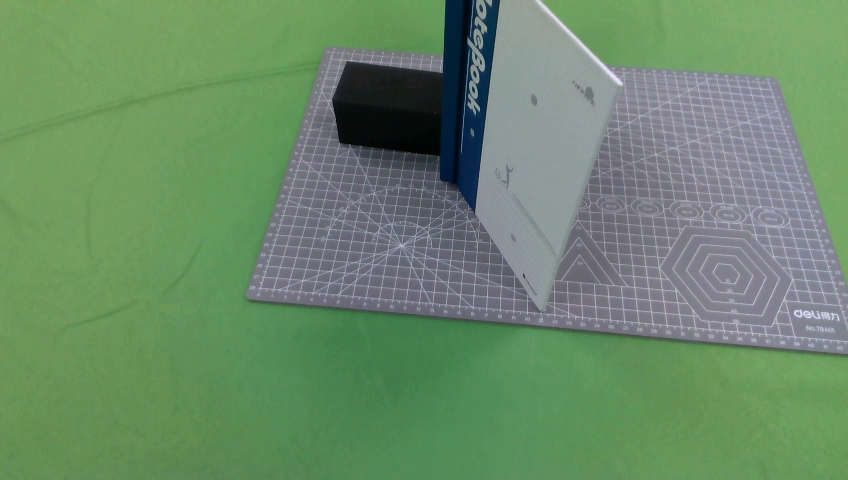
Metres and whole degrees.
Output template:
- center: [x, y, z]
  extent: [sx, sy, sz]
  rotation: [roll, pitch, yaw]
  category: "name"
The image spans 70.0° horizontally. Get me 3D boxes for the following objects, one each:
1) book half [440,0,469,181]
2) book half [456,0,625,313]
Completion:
- center: [0.041, -0.167, 0.471]
  extent: [0.016, 0.212, 0.147]
  rotation: [14, 56, 9]
  category: "book half"
- center: [0.058, -0.058, 0.394]
  extent: [0.007, 0.212, 0.141]
  rotation: [-21, 57, -16]
  category: "book half"
